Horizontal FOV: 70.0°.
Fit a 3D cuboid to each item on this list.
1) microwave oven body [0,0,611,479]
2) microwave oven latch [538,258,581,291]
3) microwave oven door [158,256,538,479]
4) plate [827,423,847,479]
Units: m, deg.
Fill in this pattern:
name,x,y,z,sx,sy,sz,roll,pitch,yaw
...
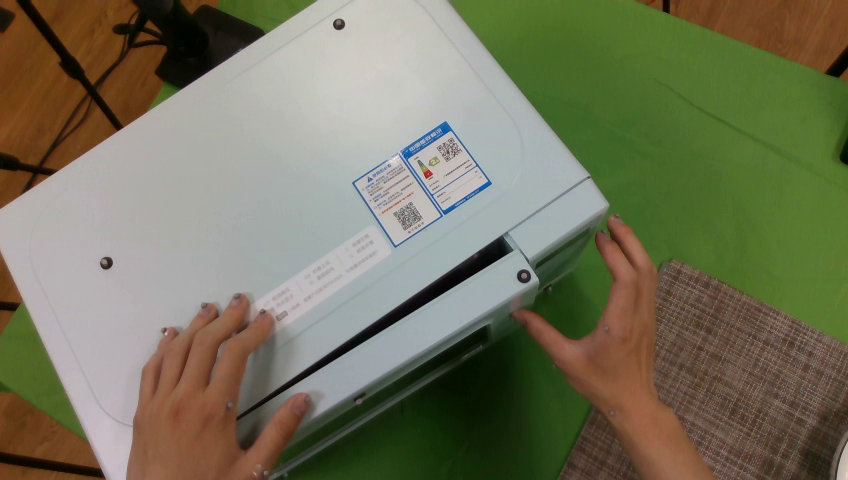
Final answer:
name,x,y,z,sx,sy,sz,roll,pitch,yaw
microwave oven body,-0.106,-0.006,0.611,0.442,0.261,0.324,-34,75,-2
microwave oven latch,0.135,0.035,0.672,0.079,0.029,0.030,-32,75,-1
microwave oven door,-0.056,0.138,0.564,0.356,0.245,0.039,-31,73,-2
plate,0.499,0.252,0.589,0.207,0.039,0.206,-2,76,6
